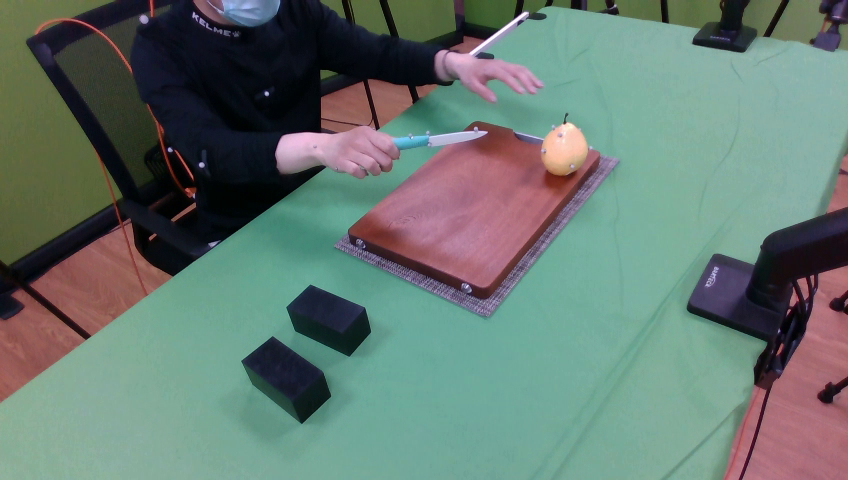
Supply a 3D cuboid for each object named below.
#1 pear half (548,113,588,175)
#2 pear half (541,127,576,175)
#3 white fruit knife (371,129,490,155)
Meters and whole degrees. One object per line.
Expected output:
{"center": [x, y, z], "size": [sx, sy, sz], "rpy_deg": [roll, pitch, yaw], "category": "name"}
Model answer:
{"center": [0.245, -0.170, 1.020], "size": [0.056, 0.110, 0.076], "rpy_deg": [-36, 52, -29], "category": "pear half"}
{"center": [0.219, -0.145, 1.010], "size": [0.070, 0.088, 0.031], "rpy_deg": [35, 55, 29], "category": "pear half"}
{"center": [0.004, -0.151, 0.915], "size": [0.206, 0.027, 0.016], "rpy_deg": [-4, 58, 28], "category": "white fruit knife"}
